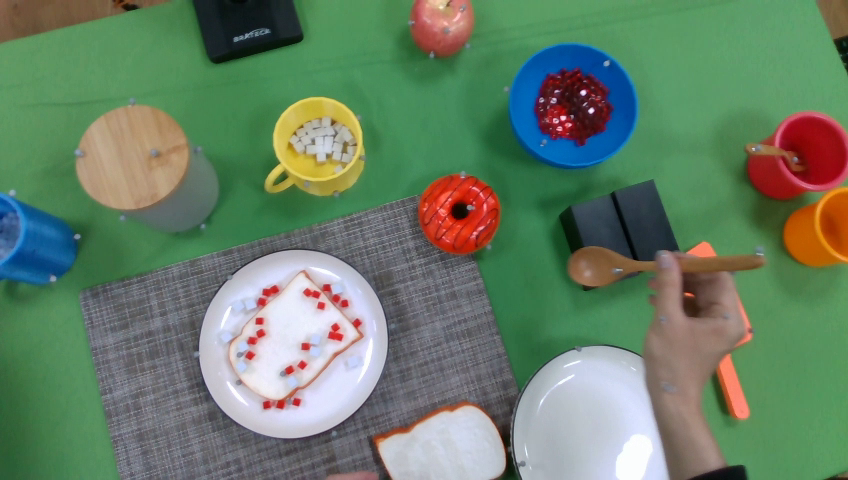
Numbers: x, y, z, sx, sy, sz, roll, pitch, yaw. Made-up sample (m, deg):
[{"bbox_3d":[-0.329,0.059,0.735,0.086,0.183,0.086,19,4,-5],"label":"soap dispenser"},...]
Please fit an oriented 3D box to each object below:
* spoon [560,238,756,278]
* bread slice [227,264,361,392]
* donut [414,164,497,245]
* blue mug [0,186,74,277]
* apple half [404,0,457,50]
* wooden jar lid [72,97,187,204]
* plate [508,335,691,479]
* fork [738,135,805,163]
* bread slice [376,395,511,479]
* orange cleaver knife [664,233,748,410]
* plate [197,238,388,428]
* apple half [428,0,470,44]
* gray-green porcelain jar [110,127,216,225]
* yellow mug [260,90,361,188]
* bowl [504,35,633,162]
[{"bbox_3d":[0.201,0.016,0.550,0.022,0.192,0.041,-9,93,-33],"label":"spoon"},{"bbox_3d":[-0.152,0.107,0.682,0.131,0.019,0.104,-44,86,-9],"label":"bread slice"},{"bbox_3d":[0.037,-0.041,0.716,0.099,0.048,0.098,1,81,-4],"label":"donut"},{"bbox_3d":[-0.456,0.004,0.647,0.116,0.106,0.082,-42,85,-9],"label":"blue mug"},{"bbox_3d":[0.000,-0.255,0.736,0.081,0.081,0.032,39,75,4],"label":"apple half"},{"bbox_3d":[-0.289,-0.087,0.600,0.108,0.021,0.108,1,79,-3],"label":"wooden jar lid"},{"bbox_3d":[0.196,0.214,0.691,0.209,0.038,0.208,1,80,-4],"label":"plate"},{"bbox_3d":[0.406,-0.108,0.703,0.208,0.018,0.028,-2,78,-46],"label":"fork"},{"bbox_3d":[0.031,0.231,0.651,0.134,0.018,0.106,-23,80,-26],"label":"bread slice"},{"bbox_3d":[0.353,0.095,0.731,0.077,0.012,0.210,-15,80,-13],"label":"orange cleaver knife"},{"bbox_3d":[-0.144,0.103,0.683,0.208,0.039,0.207,1,81,-4],"label":"plate"},{"bbox_3d":[0.024,-0.285,0.744,0.080,0.075,0.053,38,75,7],"label":"apple half"},{"bbox_3d":[-0.292,-0.075,0.661,0.106,0.127,0.105,1,80,-3],"label":"gray-green porcelain jar"},{"bbox_3d":[-0.138,-0.107,0.708,0.131,0.064,0.100,-41,85,-8],"label":"yellow mug"},{"bbox_3d":[0.164,-0.158,0.730,0.151,0.077,0.151,1,81,-3],"label":"bowl"}]
